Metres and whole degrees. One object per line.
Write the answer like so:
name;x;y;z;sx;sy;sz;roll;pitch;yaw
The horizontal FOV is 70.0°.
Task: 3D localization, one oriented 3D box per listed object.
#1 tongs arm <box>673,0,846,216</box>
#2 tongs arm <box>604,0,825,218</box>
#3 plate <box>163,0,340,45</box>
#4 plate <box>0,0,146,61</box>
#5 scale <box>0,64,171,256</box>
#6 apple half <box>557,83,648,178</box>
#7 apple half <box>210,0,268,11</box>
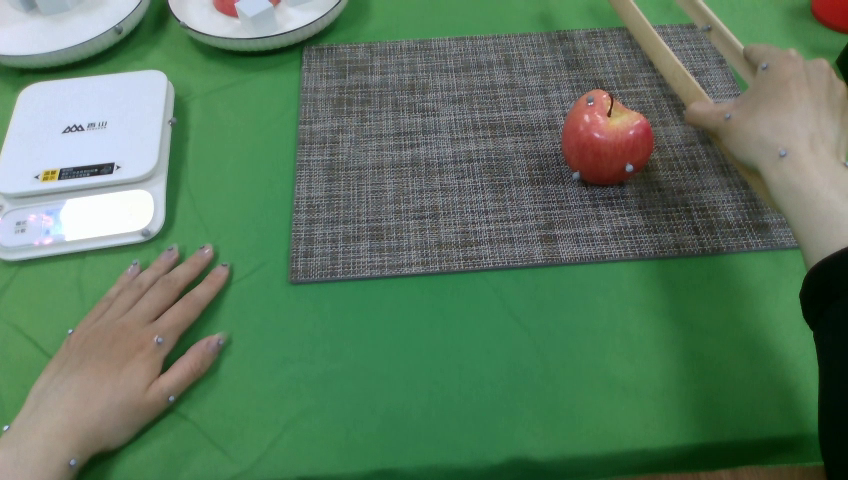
tongs arm;0.260;-0.182;0.562;0.051;0.027;0.380;-17;59;-9
tongs arm;0.225;-0.172;0.558;0.028;0.028;0.383;-15;58;-11
plate;-0.189;-0.289;0.693;0.209;0.038;0.207;0;57;1
plate;-0.414;-0.269;0.684;0.208;0.039;0.205;0;57;1
scale;-0.317;-0.082;0.564;0.149;0.032;0.199;-8;58;-4
apple half;0.148;-0.089;0.533;0.053;0.075;0.080;-39;68;-17
apple half;-0.210;-0.297;0.692;0.081;0.033;0.080;-2;55;3
